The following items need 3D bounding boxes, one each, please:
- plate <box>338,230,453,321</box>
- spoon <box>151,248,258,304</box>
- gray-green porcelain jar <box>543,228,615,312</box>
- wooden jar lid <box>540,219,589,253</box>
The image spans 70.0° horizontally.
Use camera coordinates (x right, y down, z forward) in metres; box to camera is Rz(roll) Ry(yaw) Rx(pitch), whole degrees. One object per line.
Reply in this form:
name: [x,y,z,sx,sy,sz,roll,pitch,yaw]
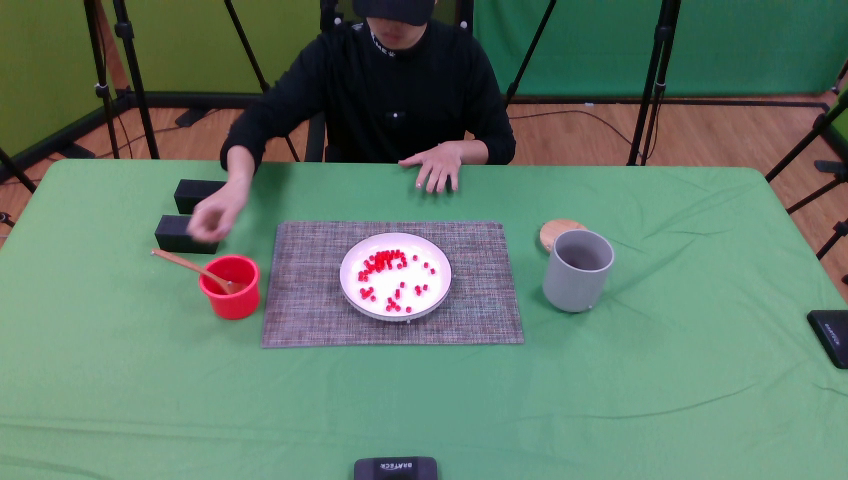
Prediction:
plate: [-0.051,0.068,1.111,0.208,0.039,0.206,2,46,-2]
spoon: [-0.369,0.059,1.028,0.195,0.021,0.041,36,35,-32]
gray-green porcelain jar: [0.273,0.059,1.087,0.106,0.127,0.105,2,46,-2]
wooden jar lid: [0.286,0.001,1.218,0.108,0.021,0.107,1,46,-1]
